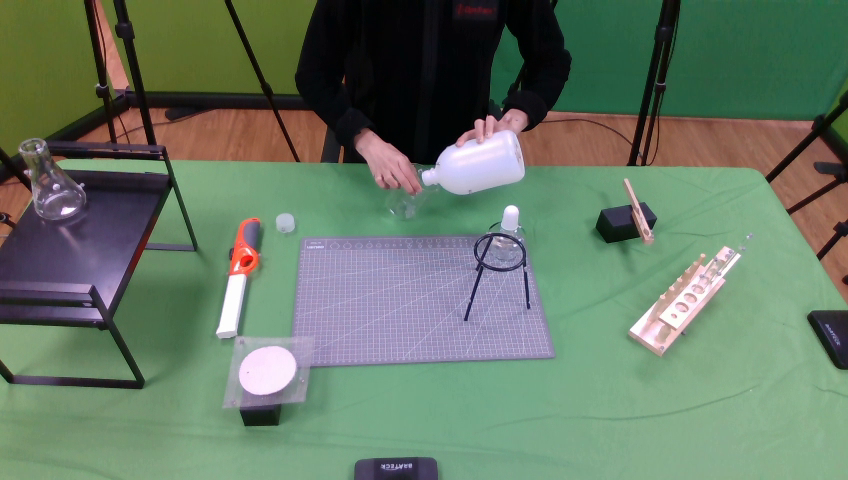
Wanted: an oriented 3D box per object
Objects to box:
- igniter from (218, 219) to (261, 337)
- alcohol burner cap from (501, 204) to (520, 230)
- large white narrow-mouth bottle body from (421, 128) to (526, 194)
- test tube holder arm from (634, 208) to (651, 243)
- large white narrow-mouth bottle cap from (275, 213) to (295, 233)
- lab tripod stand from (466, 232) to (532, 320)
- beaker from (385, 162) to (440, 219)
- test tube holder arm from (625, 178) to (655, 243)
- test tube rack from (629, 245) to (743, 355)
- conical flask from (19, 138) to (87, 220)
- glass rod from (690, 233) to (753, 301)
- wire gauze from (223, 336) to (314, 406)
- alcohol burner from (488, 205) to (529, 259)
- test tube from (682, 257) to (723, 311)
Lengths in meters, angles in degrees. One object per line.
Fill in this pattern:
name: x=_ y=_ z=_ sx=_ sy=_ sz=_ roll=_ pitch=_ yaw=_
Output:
igniter: x=-0.336 y=0.059 z=1.111 sx=0.057 sy=0.025 sz=0.274 roll=-8 pitch=46 yaw=3
alcohol burner cap: x=0.164 y=-0.046 z=1.133 sx=0.034 sy=0.048 sz=0.033 roll=2 pitch=40 yaw=-2
large white narrow-mouth bottle body: x=0.089 y=-0.142 z=1.157 sx=0.194 sy=0.102 sz=0.101 roll=-13 pitch=43 yaw=19
test tube holder arm: x=0.428 y=-0.030 z=1.189 sx=0.010 sy=0.015 sz=0.087 roll=1 pitch=47 yaw=-2
large white narrow-mouth bottle cap: x=-0.278 y=-0.035 z=1.213 sx=0.038 sy=0.024 sz=0.037 roll=3 pitch=46 yaw=-3
lab tripod stand: x=0.124 y=0.059 z=1.065 sx=0.148 sy=0.132 sz=0.147 roll=1 pitch=45 yaw=0
beaker: x=-0.025 y=-0.095 z=1.223 sx=0.084 sy=0.100 sz=0.073 roll=32 pitch=40 yaw=-12
test tube holder arm: x=0.433 y=-0.062 z=1.220 sx=0.013 sy=0.015 sz=0.177 roll=1 pitch=47 yaw=-3
test tube rack: x=0.474 y=0.095 z=1.091 sx=0.242 sy=0.085 sz=0.066 roll=-34 pitch=56 yaw=-31
conical flask: x=-0.576 y=-0.097 z=0.930 sx=0.075 sy=0.122 sz=0.075 roll=2 pitch=46 yaw=-2
glass rod: x=0.507 y=0.053 z=1.041 sx=0.008 sy=0.200 sz=0.008 roll=5 pitch=51 yaw=-6
wire gauze: x=-0.237 y=0.197 z=0.931 sx=0.121 sy=0.011 sz=0.124 roll=1 pitch=45 yaw=-4
alcohol burner: x=0.163 y=-0.020 z=1.158 sx=0.078 sy=0.120 sz=0.077 roll=0 pitch=47 yaw=0
test tube: x=0.475 y=0.080 z=1.037 sx=0.017 sy=0.151 sz=0.017 roll=1 pitch=50 yaw=-1
